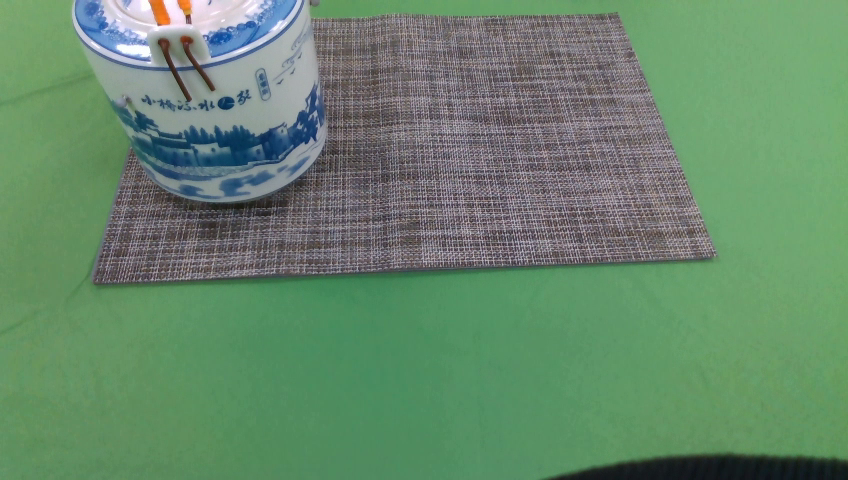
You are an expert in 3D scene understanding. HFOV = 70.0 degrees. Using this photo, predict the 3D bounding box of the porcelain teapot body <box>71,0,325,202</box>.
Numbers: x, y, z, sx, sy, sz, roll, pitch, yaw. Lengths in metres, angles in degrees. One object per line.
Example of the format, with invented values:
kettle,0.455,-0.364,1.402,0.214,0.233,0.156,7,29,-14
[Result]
porcelain teapot body,-0.154,-0.163,0.421,0.145,0.227,0.203,-8,55,-7

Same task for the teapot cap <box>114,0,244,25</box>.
teapot cap,-0.150,-0.163,0.373,0.085,0.044,0.084,0,56,0
